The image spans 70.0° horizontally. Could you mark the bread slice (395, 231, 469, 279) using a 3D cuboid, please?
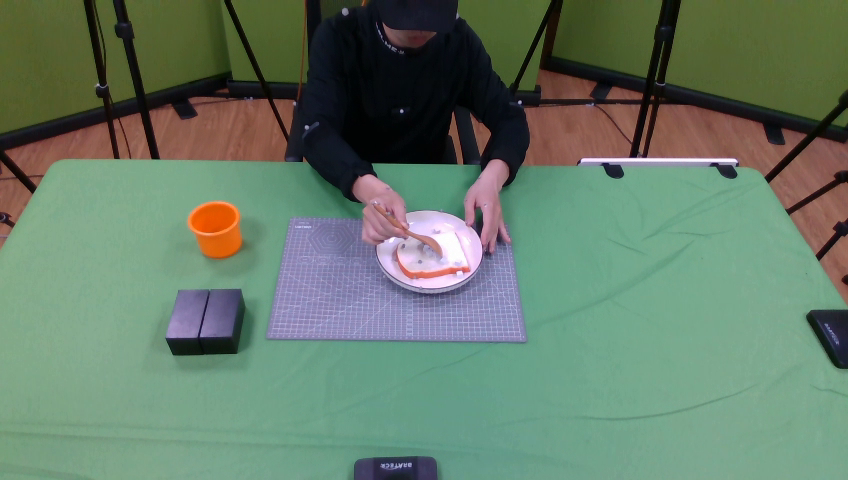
[{"bbox_3d":[0.011,0.030,1.159,0.132,0.019,0.104,-9,47,-14],"label":"bread slice"}]

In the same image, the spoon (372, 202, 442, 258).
[{"bbox_3d":[-0.027,-0.016,1.080,0.195,0.021,0.041,31,23,-40],"label":"spoon"}]

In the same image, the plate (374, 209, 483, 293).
[{"bbox_3d":[0.009,0.024,1.160,0.209,0.038,0.208,2,46,-2],"label":"plate"}]
